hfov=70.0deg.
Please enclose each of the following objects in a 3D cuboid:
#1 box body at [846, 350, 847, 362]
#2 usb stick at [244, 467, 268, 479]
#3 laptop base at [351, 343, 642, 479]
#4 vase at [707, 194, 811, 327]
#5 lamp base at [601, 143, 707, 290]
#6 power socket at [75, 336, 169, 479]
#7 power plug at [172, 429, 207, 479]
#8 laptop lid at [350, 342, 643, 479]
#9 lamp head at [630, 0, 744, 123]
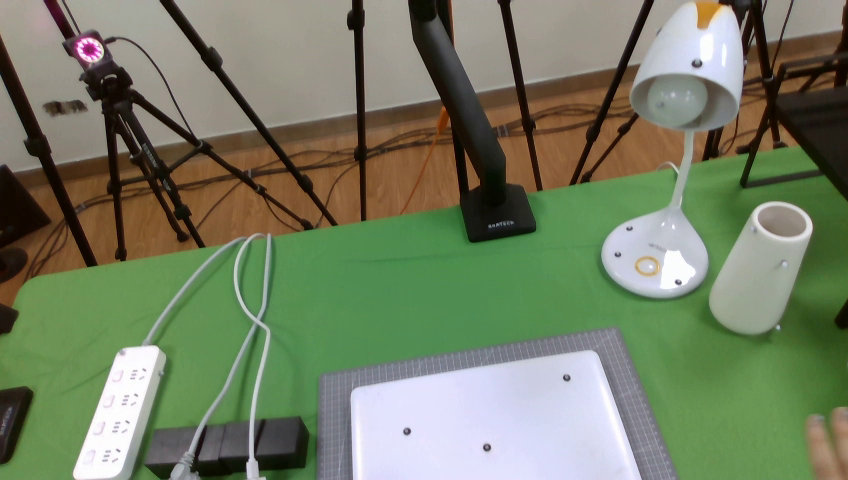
[{"bbox_3d":[0.681,0.213,0.649,0.254,0.162,0.360,-7,48,2],"label":"box body"},{"bbox_3d":[-0.209,0.316,0.757,0.027,0.022,0.059,-18,71,33],"label":"usb stick"},{"bbox_3d":[0.083,0.263,0.789,0.354,0.023,0.233,-9,52,0],"label":"laptop base"},{"bbox_3d":[0.451,0.031,0.819,0.098,0.202,0.097,-5,47,6],"label":"vase"},{"bbox_3d":[0.361,-0.046,0.913,0.159,0.182,0.178,17,51,22],"label":"lamp base"},{"bbox_3d":[-0.433,0.237,0.880,0.072,0.033,0.224,-4,48,4],"label":"power socket"},{"bbox_3d":[-0.291,0.289,0.779,0.035,0.053,0.072,13,57,43],"label":"power plug"},{"bbox_3d":[0.082,0.258,0.779,0.357,0.013,0.239,-8,51,2],"label":"laptop lid"},{"bbox_3d":[0.293,-0.202,0.659,0.112,0.113,0.122,15,70,20],"label":"lamp head"}]
